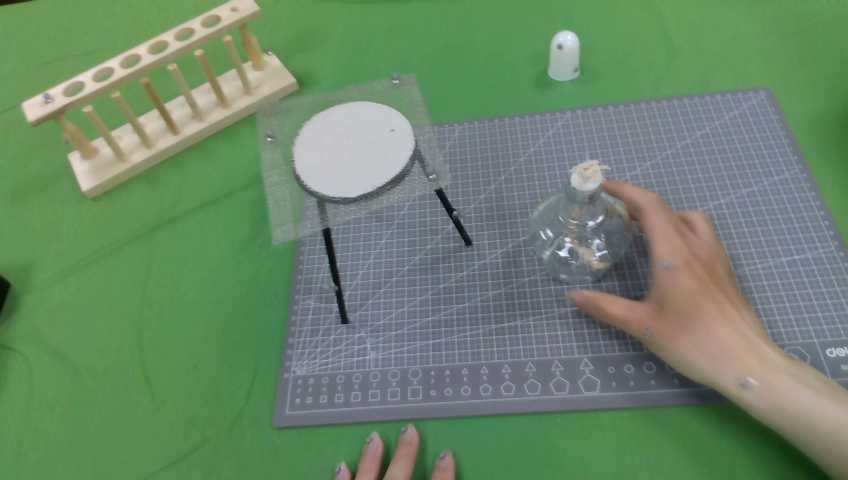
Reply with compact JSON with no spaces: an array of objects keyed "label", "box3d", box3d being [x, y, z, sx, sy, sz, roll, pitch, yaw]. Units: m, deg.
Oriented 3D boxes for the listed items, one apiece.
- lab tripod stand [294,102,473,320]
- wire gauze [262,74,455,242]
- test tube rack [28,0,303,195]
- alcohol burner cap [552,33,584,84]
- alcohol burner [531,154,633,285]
[{"label":"lab tripod stand","box3d":[-0.039,-0.025,0.471,0.148,0.133,0.147,-3,57,6]},{"label":"wire gauze","box3d":[-0.050,-0.064,0.417,0.121,0.011,0.124,-14,57,-1]},{"label":"test tube rack","box3d":[-0.256,-0.150,0.622,0.242,0.086,0.066,-31,57,-12]},{"label":"alcohol burner cap","box3d":[0.147,-0.186,0.611,0.034,0.048,0.033,-5,56,7]},{"label":"alcohol burner","box3d":[0.119,-0.018,0.455,0.078,0.120,0.077,-5,53,6]}]
